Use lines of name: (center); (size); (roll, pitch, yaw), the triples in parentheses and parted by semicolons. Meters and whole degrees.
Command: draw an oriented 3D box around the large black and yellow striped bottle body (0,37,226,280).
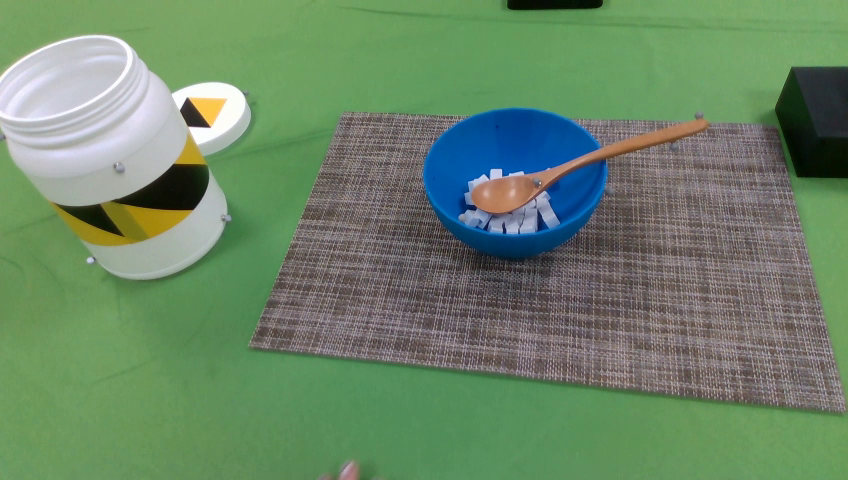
large black and yellow striped bottle body: (-0.266, -0.066, 0.527); (0.131, 0.186, 0.129); (-4, 51, 5)

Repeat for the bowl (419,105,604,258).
bowl: (0.074, -0.037, 0.523); (0.151, 0.077, 0.150); (-3, 52, 5)

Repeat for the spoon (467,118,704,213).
spoon: (0.128, -0.062, 0.491); (0.193, 0.022, 0.041); (-20, 46, 15)

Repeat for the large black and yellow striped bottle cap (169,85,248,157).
large black and yellow striped bottle cap: (-0.261, -0.137, 0.691); (0.115, 0.019, 0.114); (-3, 51, 4)
